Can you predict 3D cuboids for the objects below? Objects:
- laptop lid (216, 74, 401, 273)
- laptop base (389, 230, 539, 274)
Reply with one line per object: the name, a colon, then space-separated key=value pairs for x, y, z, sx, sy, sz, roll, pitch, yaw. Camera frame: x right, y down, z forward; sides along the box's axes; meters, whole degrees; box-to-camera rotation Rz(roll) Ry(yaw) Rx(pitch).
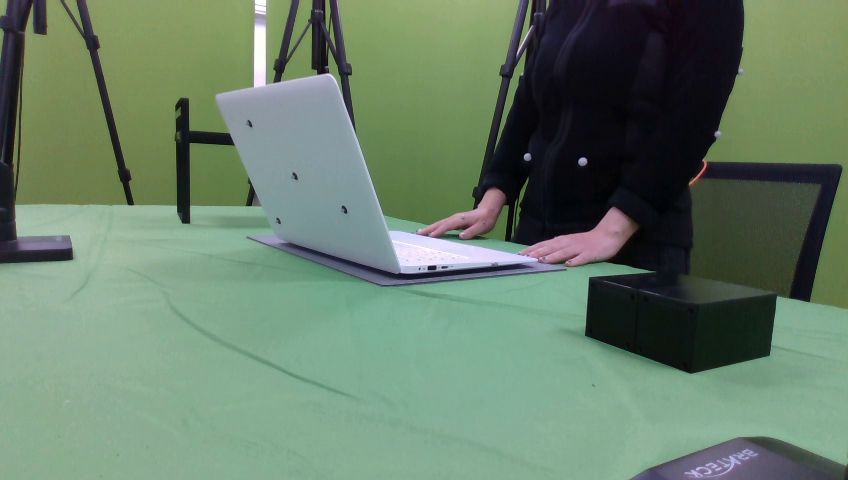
laptop lid: x=-0.164 y=-0.085 z=0.780 sx=0.013 sy=0.242 sz=0.355 roll=-32 pitch=27 yaw=-30
laptop base: x=-0.037 y=0.014 z=0.895 sx=0.237 sy=0.023 sz=0.352 roll=1 pitch=7 yaw=-38
